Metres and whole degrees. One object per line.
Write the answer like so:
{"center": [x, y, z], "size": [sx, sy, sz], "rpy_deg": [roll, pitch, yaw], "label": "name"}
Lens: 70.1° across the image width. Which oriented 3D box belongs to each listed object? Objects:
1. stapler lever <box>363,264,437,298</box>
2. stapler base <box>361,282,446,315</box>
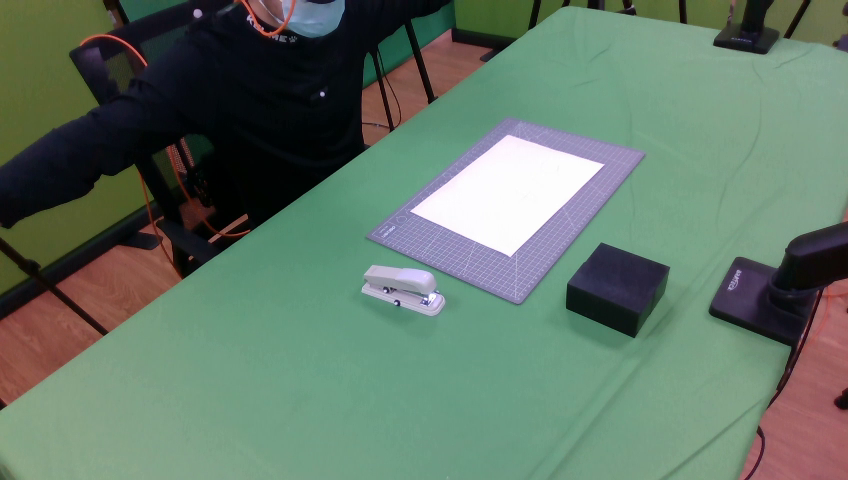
{"center": [-0.036, 0.054, 0.873], "size": [0.117, 0.040, 0.027], "rpy_deg": [14, 42, 26], "label": "stapler lever"}
{"center": [-0.031, 0.073, 0.889], "size": [0.130, 0.024, 0.041], "rpy_deg": [14, 42, 26], "label": "stapler base"}
